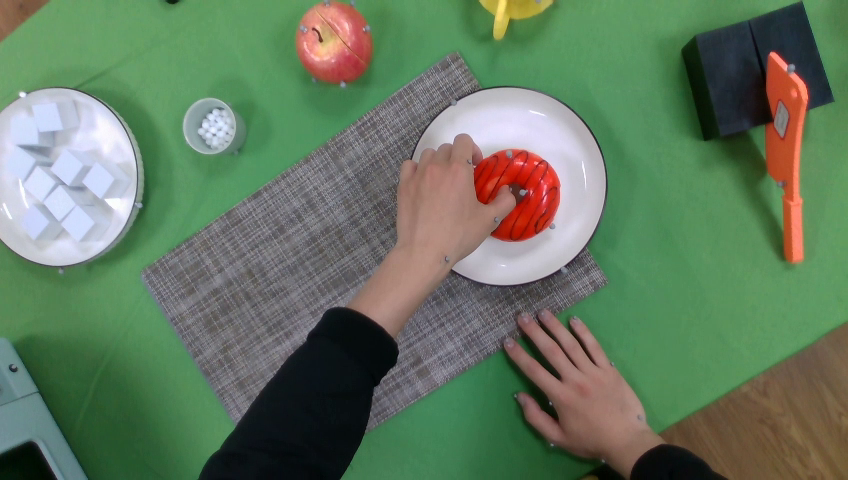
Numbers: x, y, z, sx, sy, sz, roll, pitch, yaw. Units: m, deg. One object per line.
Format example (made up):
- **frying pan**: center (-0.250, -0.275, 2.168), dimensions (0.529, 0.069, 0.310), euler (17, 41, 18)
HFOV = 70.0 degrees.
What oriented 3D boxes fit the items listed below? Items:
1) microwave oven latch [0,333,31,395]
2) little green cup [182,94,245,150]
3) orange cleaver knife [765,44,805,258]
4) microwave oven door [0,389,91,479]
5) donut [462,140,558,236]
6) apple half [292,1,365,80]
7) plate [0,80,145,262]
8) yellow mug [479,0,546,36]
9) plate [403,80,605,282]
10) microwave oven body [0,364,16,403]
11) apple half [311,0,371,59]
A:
- **microwave oven latch**: center (-0.500, 0.148, 0.715), dimensions (0.030, 0.029, 0.079), euler (-27, 90, 8)
- **little green cup**: center (-0.234, -0.129, 0.681), dimensions (0.061, 0.038, 0.061), euler (0, 93, 8)
- **orange cleaver knife**: center (0.345, -0.080, 0.585), dimensions (0.012, 0.076, 0.213), euler (-13, 122, 12)
- **microwave oven door**: center (-0.404, 0.343, 0.612), dimensions (0.039, 0.244, 0.355), euler (-31, 89, 8)
- **donut**: center (0.088, -0.053, 0.622), dimensions (0.099, 0.048, 0.099), euler (1, 101, 7)
- **apple half**: center (-0.107, -0.202, 0.642), dimensions (0.053, 0.074, 0.081), euler (-42, 91, 12)
- **plate**: center (-0.419, -0.078, 0.709), dimensions (0.207, 0.039, 0.207), euler (0, 94, 8)
- **yellow mug**: center (0.088, -0.274, 0.615), dimensions (0.100, 0.064, 0.131), euler (15, 96, 7)
- **plate**: center (0.083, -0.061, 0.639), dimensions (0.209, 0.038, 0.209), euler (0, 94, 8)
- **microwave oven body**: center (-0.549, 0.379, 0.639), dimensions (0.326, 0.260, 0.441), euler (-31, 90, 8)
- **apple half**: center (-0.078, -0.229, 0.636), dimensions (0.033, 0.081, 0.081), euler (-42, 87, 13)
